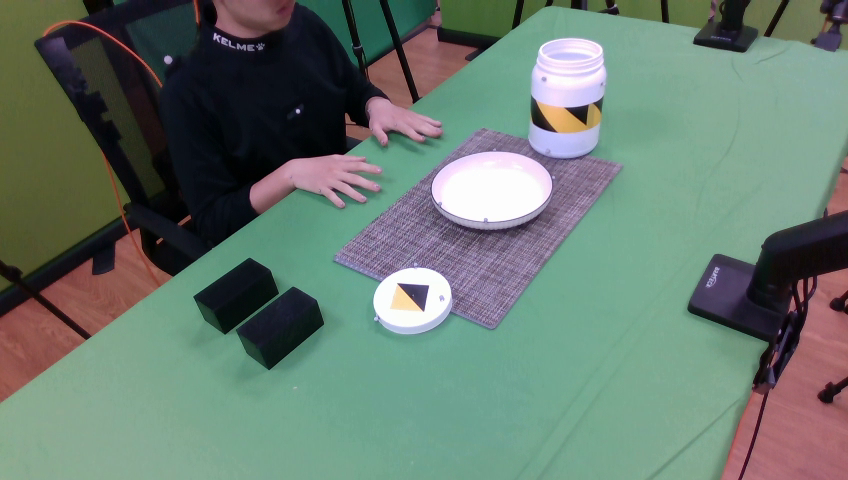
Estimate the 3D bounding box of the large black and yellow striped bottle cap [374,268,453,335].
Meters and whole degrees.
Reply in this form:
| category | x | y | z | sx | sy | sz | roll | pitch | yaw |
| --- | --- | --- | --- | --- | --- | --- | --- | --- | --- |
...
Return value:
| category | x | y | z | sx | sy | sz | roll | pitch | yaw |
| --- | --- | --- | --- | --- | --- | --- | --- | --- | --- |
| large black and yellow striped bottle cap | -0.015 | 0.087 | 0.871 | 0.115 | 0.019 | 0.114 | -6 | 43 | 6 |

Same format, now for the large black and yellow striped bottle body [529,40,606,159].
| category | x | y | z | sx | sy | sz | roll | pitch | yaw |
| --- | --- | --- | --- | --- | --- | --- | --- | --- | --- |
| large black and yellow striped bottle body | 0.259 | -0.257 | 1.103 | 0.131 | 0.185 | 0.130 | -3 | 38 | 3 |

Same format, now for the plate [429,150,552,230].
| category | x | y | z | sx | sy | sz | roll | pitch | yaw |
| --- | --- | --- | --- | --- | --- | --- | --- | --- | --- |
| plate | 0.113 | -0.082 | 1.032 | 0.207 | 0.039 | 0.206 | -4 | 41 | 4 |
